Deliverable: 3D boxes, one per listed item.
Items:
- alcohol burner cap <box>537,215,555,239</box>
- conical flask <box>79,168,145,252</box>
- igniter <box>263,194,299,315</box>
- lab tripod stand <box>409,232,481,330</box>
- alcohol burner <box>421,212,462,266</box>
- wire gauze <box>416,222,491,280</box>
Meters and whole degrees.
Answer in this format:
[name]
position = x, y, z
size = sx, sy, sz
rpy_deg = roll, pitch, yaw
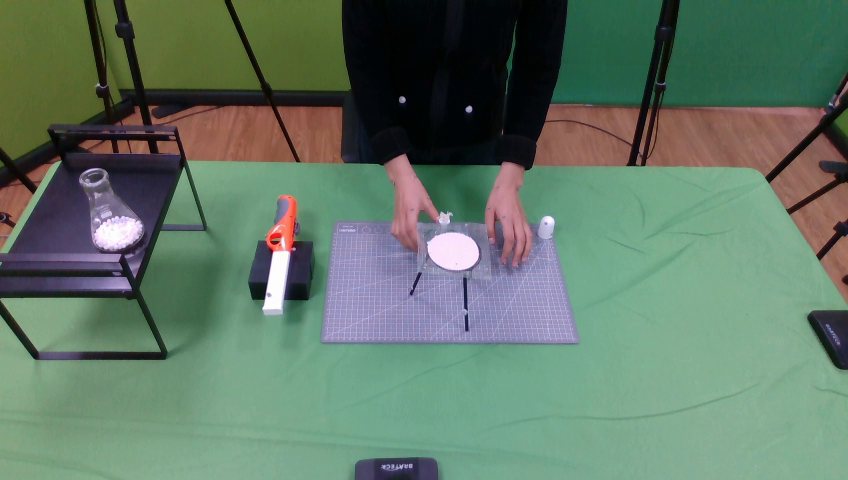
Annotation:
[alcohol burner cap]
position = 0.249, -0.029, 1.228
size = 0.034, 0.048, 0.033
rpy_deg = 1, 47, -1
[conical flask]
position = -0.463, -0.048, 0.888
size = 0.075, 0.122, 0.075
rpy_deg = 2, 46, -2
[igniter]
position = -0.259, 0.016, 1.093
size = 0.057, 0.025, 0.274
rpy_deg = -3, 49, -2
[lab tripod stand]
position = 0.051, 0.064, 1.059
size = 0.148, 0.132, 0.147
rpy_deg = 3, 47, -3
[alcohol burner]
position = 0.034, -0.007, 1.141
size = 0.078, 0.119, 0.077
rpy_deg = 3, 45, -3
[wire gauze]
position = 0.047, 0.014, 1.013
size = 0.125, 0.011, 0.120
rpy_deg = 3, 47, -3
